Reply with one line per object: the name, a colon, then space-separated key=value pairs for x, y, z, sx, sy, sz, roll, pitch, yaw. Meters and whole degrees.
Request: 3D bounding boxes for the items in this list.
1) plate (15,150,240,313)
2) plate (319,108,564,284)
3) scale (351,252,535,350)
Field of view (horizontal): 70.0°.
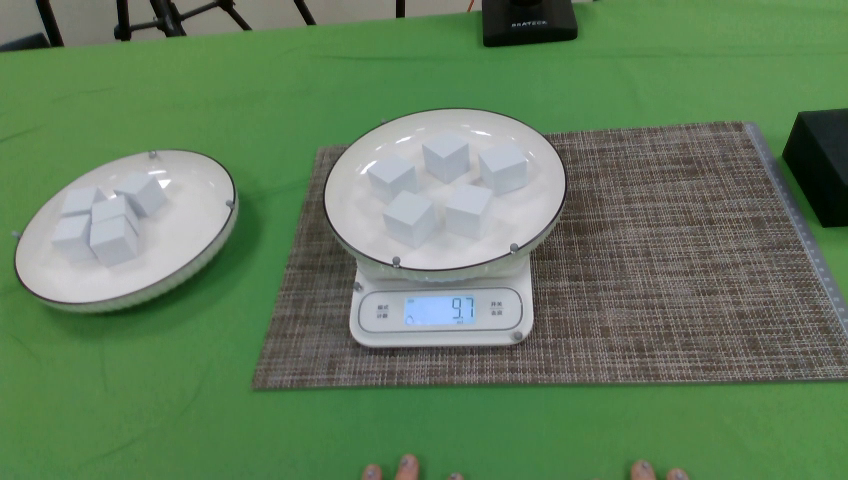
plate: x=-0.279 y=-0.008 z=0.590 sx=0.209 sy=0.038 sz=0.207 roll=-4 pitch=47 yaw=4
plate: x=0.015 y=-0.038 z=0.527 sx=0.207 sy=0.039 sz=0.205 roll=-3 pitch=47 yaw=4
scale: x=0.018 y=0.005 z=0.532 sx=0.148 sy=0.032 sz=0.199 roll=-2 pitch=48 yaw=7
